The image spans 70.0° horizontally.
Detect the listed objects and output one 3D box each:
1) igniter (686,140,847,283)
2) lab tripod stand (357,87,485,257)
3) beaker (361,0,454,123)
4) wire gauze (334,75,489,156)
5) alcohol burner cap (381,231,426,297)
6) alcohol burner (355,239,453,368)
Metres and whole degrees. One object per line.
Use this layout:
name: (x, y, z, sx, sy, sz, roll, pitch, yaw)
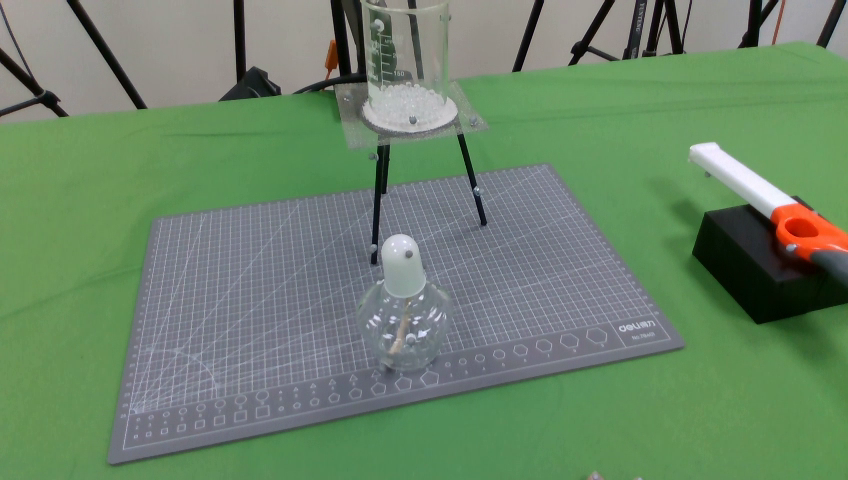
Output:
igniter: (0.325, -0.021, 0.536, 0.057, 0.025, 0.273, -10, 37, -10)
lab tripod stand: (-0.010, -0.071, 0.591, 0.148, 0.132, 0.147, 0, 38, 0)
beaker: (-0.017, -0.159, 0.516, 0.083, 0.101, 0.074, 30, 47, 32)
wire gauze: (-0.016, -0.120, 0.546, 0.122, 0.011, 0.123, -9, 42, -9)
alcohol burner cap: (-0.016, 0.015, 0.444, 0.034, 0.048, 0.033, -2, 43, 2)
alcohol burner: (-0.016, 0.043, 0.467, 0.078, 0.120, 0.077, 0, 41, 0)
